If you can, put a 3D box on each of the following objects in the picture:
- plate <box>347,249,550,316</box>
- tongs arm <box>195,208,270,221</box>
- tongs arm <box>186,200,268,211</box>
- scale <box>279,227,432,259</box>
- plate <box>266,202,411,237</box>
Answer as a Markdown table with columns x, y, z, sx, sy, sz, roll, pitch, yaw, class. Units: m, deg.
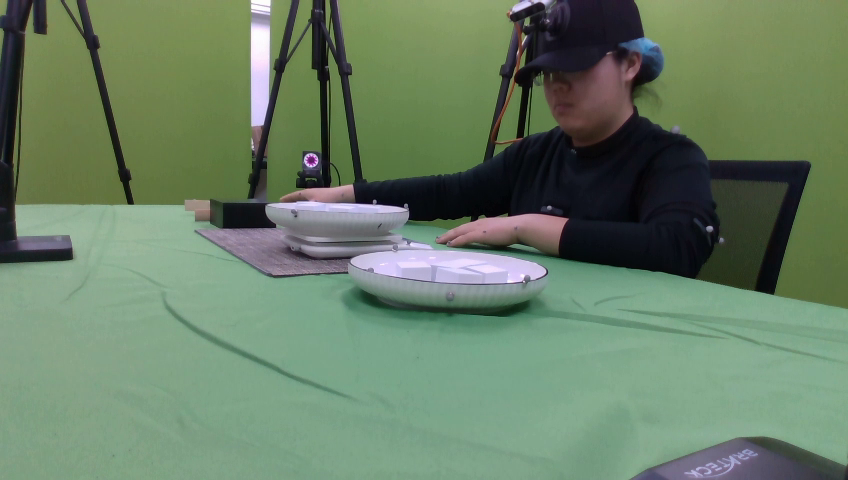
| x | y | z | sx | sy | sz | roll | pitch | yaw | class |
| --- | --- | --- | --- | --- | --- | --- | --- | --- | --- |
| 0.025 | 0.042 | 0.627 | 0.209 | 0.038 | 0.209 | 2 | 7 | 0 | plate |
| -0.306 | -0.058 | 1.332 | 0.390 | 0.028 | 0.028 | -2 | 6 | -37 | tongs arm |
| -0.343 | -0.072 | 1.399 | 0.387 | 0.026 | 0.050 | 0 | 8 | -25 | tongs arm |
| -0.100 | 0.001 | 0.899 | 0.202 | 0.031 | 0.148 | -1 | 9 | -31 | scale |
| -0.123 | -0.030 | 0.879 | 0.208 | 0.039 | 0.207 | 2 | 6 | 0 | plate |
